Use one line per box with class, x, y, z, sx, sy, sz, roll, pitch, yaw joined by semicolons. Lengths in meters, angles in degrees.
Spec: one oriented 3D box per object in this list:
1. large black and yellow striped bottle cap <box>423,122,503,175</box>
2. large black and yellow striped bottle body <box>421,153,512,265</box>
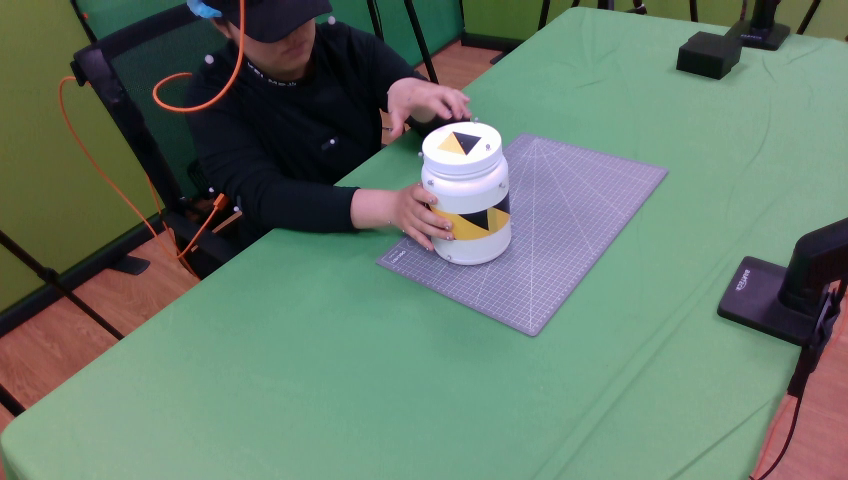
large black and yellow striped bottle cap;0.055;-0.133;0.864;0.115;0.019;0.114;-6;39;6
large black and yellow striped bottle body;0.066;-0.068;0.921;0.131;0.185;0.130;-5;40;5
